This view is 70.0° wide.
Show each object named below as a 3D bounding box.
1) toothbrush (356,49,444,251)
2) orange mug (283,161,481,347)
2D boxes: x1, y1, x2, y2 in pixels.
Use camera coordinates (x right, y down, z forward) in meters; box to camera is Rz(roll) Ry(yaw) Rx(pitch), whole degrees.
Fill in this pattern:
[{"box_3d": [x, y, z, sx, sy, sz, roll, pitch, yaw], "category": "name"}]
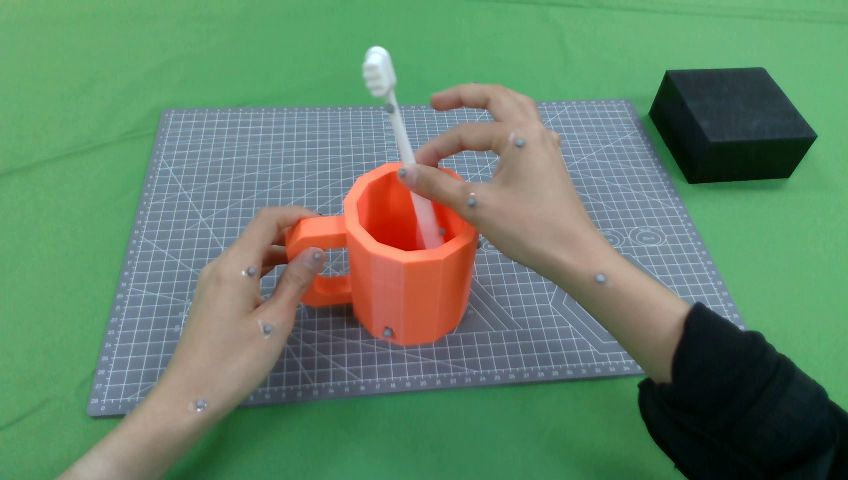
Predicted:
[{"box_3d": [-0.007, -0.031, 0.377, 0.014, 0.184, 0.016, -7, 42, 15], "category": "toothbrush"}, {"box_3d": [-0.028, 0.012, 0.403, 0.126, 0.101, 0.082, -4, 51, -13], "category": "orange mug"}]
